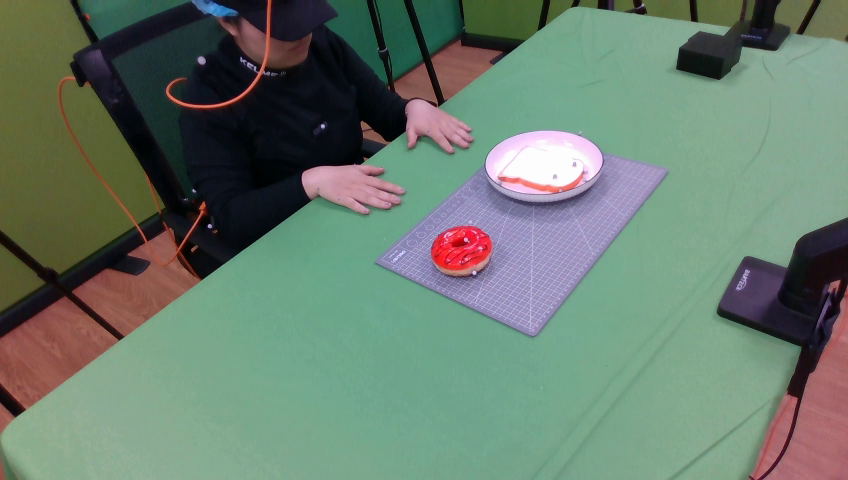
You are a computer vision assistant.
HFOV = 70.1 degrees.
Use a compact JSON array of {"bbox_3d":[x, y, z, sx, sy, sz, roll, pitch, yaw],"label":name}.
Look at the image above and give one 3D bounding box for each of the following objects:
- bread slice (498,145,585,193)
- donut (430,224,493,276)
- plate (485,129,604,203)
[{"bbox_3d":[0.215,-0.125,1.076,0.133,0.018,0.107,16,48,28],"label":"bread slice"},{"bbox_3d":[0.057,0.014,0.934,0.099,0.048,0.098,-7,40,6],"label":"donut"},{"bbox_3d":[0.213,-0.129,1.079,0.209,0.038,0.208,-5,40,5],"label":"plate"}]
